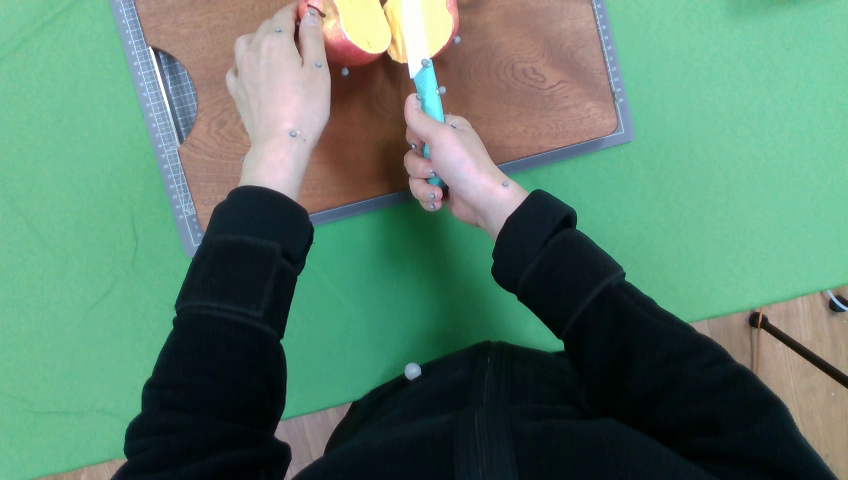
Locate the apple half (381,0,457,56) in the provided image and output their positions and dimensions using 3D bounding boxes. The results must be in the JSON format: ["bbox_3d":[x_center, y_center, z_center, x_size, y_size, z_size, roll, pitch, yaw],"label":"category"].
[{"bbox_3d":[-0.001,-0.196,0.528,0.081,0.033,0.081,2,93,37],"label":"apple half"}]

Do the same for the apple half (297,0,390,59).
[{"bbox_3d":[-0.073,-0.190,0.514,0.053,0.074,0.081,-19,100,36],"label":"apple half"}]

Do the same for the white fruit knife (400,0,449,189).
[{"bbox_3d":[-0.003,-0.148,0.514,0.027,0.016,0.207,-10,88,34],"label":"white fruit knife"}]
